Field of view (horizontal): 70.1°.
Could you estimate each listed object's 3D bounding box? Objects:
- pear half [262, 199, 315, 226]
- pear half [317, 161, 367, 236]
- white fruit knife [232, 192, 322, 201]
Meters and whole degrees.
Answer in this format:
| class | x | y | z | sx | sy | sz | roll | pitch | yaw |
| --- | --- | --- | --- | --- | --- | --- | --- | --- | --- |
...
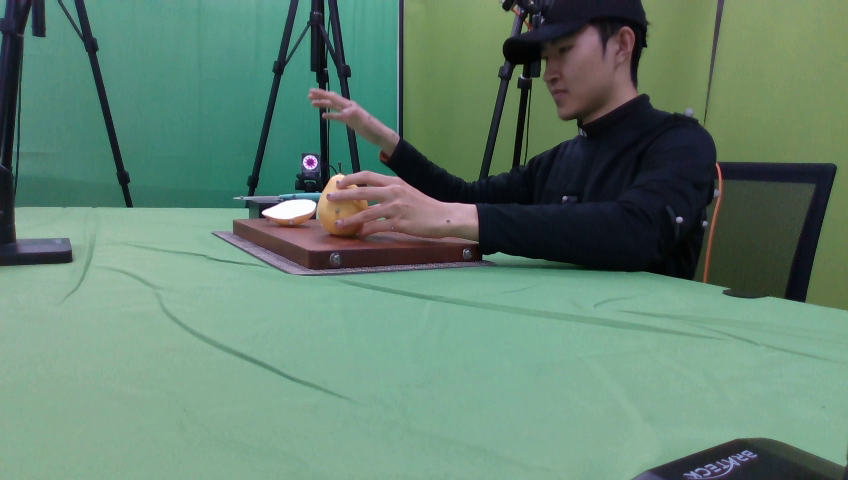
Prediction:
| class | x | y | z | sx | sy | sz | roll | pitch | yaw |
| --- | --- | --- | --- | --- | --- | --- | --- | --- | --- |
| pear half | -0.223 | -0.041 | 1.008 | 0.088 | 0.031 | 0.070 | -11 | 23 | 2 |
| pear half | -0.115 | -0.061 | 0.890 | 0.055 | 0.110 | 0.077 | 7 | 18 | 41 |
| white fruit knife | -0.302 | -0.090 | 1.291 | 0.208 | 0.016 | 0.027 | -4 | -14 | -27 |
